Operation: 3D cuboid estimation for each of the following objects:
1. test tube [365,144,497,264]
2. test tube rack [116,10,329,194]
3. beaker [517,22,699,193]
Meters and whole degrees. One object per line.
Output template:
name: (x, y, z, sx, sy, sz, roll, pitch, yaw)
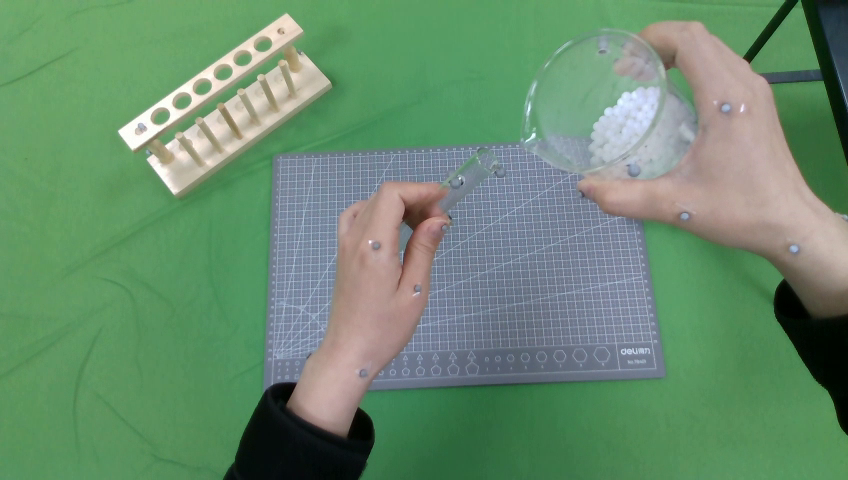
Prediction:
test tube: (-0.002, -0.018, 0.395, 0.017, 0.150, 0.017, 15, 58, -26)
test tube rack: (-0.239, -0.168, 0.744, 0.242, 0.085, 0.066, -39, 75, -10)
beaker: (0.110, -0.067, 0.350, 0.084, 0.101, 0.073, -26, 70, 31)
